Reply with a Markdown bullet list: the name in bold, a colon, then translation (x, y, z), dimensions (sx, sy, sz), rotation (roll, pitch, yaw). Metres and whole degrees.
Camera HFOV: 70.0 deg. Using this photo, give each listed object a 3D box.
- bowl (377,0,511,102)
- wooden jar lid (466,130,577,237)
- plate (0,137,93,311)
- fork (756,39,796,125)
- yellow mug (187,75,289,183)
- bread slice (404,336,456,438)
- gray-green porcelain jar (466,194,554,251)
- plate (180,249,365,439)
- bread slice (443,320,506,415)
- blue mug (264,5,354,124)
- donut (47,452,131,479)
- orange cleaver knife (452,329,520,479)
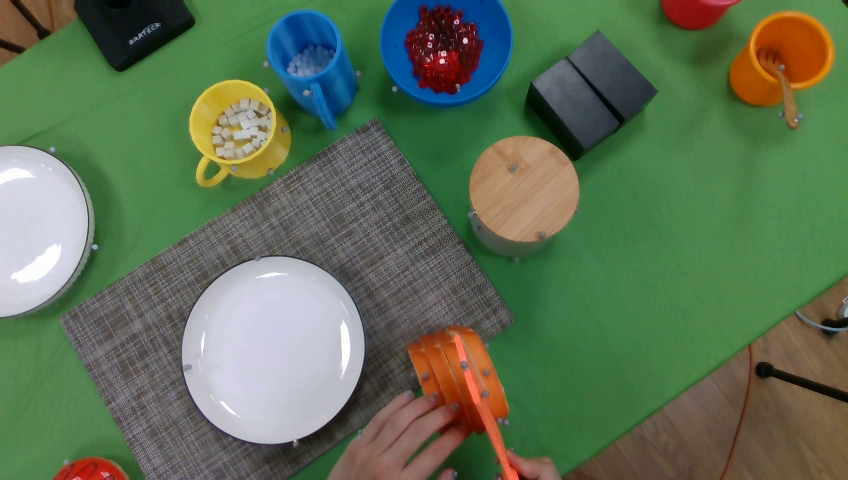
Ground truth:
- **bowl**: translation (0.024, -0.225, 0.713), dimensions (0.151, 0.077, 0.151), rotation (0, 82, 2)
- **wooden jar lid**: translation (0.096, -0.055, 0.599), dimensions (0.108, 0.021, 0.108), rotation (0, 82, -1)
- **plate**: translation (-0.494, -0.018, 0.723), dimensions (0.207, 0.039, 0.207), rotation (0, 82, 2)
- **fork**: translation (0.383, -0.176, 0.657), dimensions (0.028, 0.019, 0.206), rotation (28, 40, -1)
- **yellow mug**: translation (-0.226, -0.121, 0.714), dimensions (0.099, 0.064, 0.130), rotation (34, 86, 7)
- **bread slice**: translation (0.005, 0.150, 0.632), dimensions (0.018, 0.134, 0.106), rotation (-22, 81, -5)
- **gray-green porcelain jar**: translation (0.099, -0.045, 0.660), dimensions (0.106, 0.127, 0.105), rotation (0, 81, 2)
- **plate**: translation (-0.168, 0.115, 0.688), dimensions (0.209, 0.038, 0.208), rotation (0, 82, 2)
- **bread slice**: translation (0.054, 0.133, 0.634), dimensions (0.019, 0.131, 0.104), rotation (-22, 86, -8)
- **blue mug**: translation (-0.126, -0.191, 0.700), dimensions (0.082, 0.106, 0.116), rotation (-14, 81, 0)
- **donut**: translation (-0.373, 0.286, 0.672), dimensions (0.099, 0.048, 0.098), rotation (0, 80, 0)
- **orange cleaver knife**: translation (0.064, 0.173, 0.546), dimensions (0.012, 0.076, 0.213), rotation (-21, 117, 4)
